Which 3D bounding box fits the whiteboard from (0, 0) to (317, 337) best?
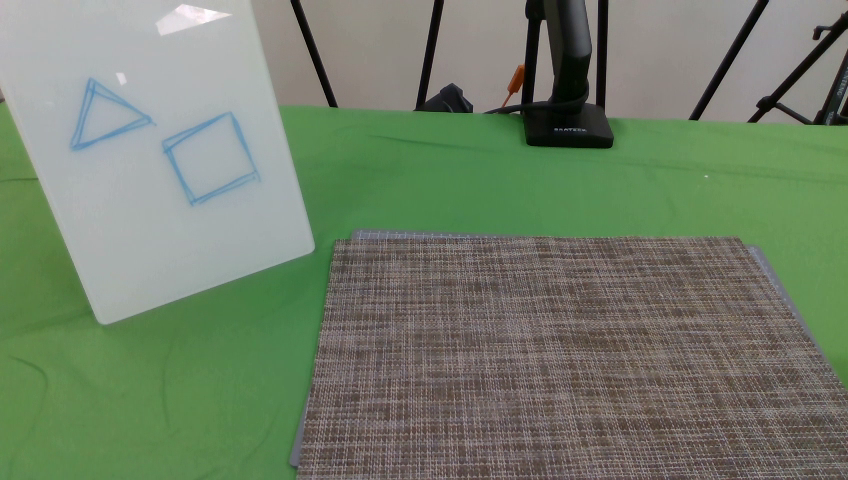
[{"bbox_3d":[-0.265,-0.099,0.608,0.218,0.307,0.142,-21,23,-25],"label":"whiteboard"}]
